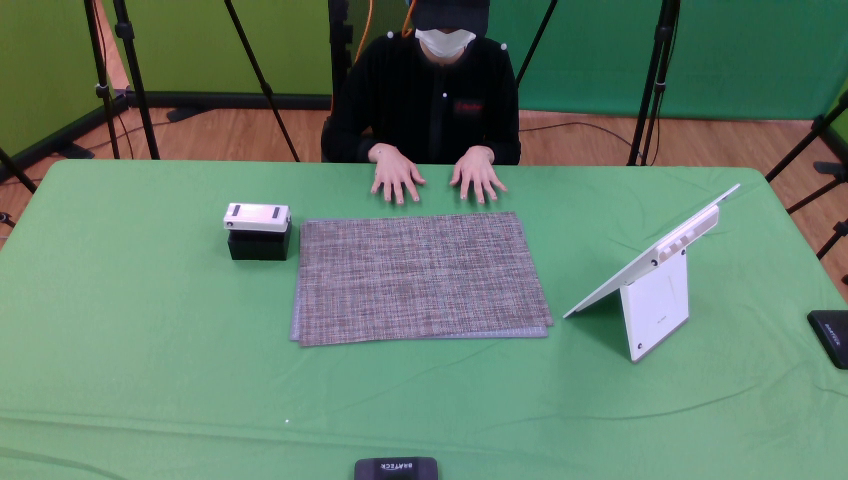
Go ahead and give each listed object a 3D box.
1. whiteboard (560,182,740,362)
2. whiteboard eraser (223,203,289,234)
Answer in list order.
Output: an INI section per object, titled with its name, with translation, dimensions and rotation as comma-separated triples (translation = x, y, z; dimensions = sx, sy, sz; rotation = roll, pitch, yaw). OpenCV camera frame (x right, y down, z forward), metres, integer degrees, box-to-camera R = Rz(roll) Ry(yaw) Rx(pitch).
[whiteboard]
translation = 0.406, 0.075, 1.001
dimensions = 0.217, 0.306, 0.143
rotation = -28, 73, -28
[whiteboard eraser]
translation = -0.311, -0.039, 1.127
dimensions = 0.113, 0.042, 0.055
rotation = 3, 47, -2
